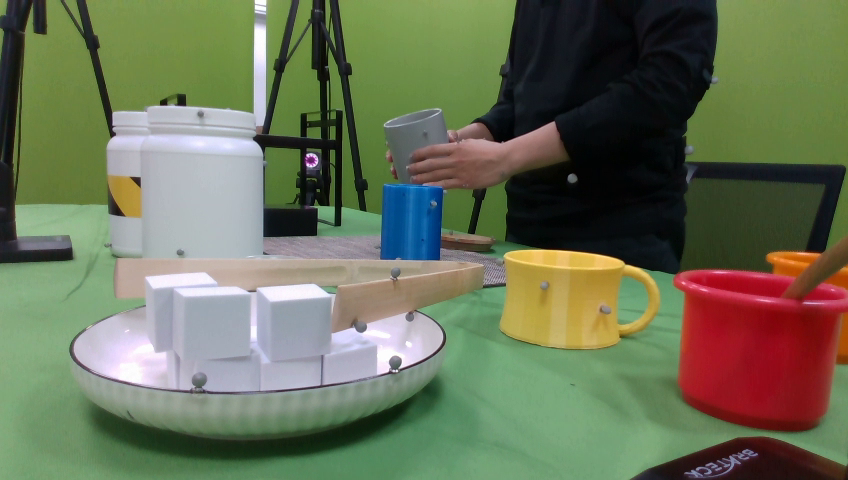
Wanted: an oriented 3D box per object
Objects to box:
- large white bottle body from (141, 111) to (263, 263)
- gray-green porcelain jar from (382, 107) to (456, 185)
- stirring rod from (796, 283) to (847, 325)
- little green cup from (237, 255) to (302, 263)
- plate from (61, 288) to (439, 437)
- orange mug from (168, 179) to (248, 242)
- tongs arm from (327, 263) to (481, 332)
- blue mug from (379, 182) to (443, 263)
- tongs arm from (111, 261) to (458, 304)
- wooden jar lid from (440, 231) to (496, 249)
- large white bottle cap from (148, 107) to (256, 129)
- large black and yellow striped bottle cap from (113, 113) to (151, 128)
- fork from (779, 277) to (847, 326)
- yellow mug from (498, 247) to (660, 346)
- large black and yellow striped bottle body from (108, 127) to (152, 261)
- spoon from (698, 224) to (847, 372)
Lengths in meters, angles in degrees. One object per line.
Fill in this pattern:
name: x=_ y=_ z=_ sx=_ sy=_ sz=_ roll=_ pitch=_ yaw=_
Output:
large white bottle body: x=-0.254 y=-0.054 z=0.697 sx=0.131 sy=0.184 sz=0.130 roll=2 pitch=7 yaw=0
gray-green porcelain jar: x=-0.005 y=-0.156 z=1.055 sx=0.106 sy=0.126 sz=0.105 roll=-14 pitch=20 yaw=6
stirring rod: x=0.346 y=0.019 z=0.460 sx=0.014 sy=0.176 sz=0.006 roll=-17 pitch=59 yaw=-26
little green cup: x=-0.150 y=0.038 z=0.590 sx=0.061 sy=0.038 sz=0.061 roll=3 pitch=6 yaw=0
plate: x=-0.095 y=0.069 z=0.362 sx=0.208 sy=0.039 sz=0.207 roll=3 pitch=7 yaw=0
orange mug: x=-0.351 y=-0.050 z=0.986 sx=0.126 sy=0.101 sz=0.083 roll=-3 pitch=8 yaw=-9
tongs arm: x=-0.003 y=0.036 z=0.493 sx=0.050 sy=0.026 sz=0.386 roll=1 pitch=0 yaw=19
blue mug: x=-0.020 y=-0.026 z=0.833 sx=0.082 sy=0.106 sz=0.116 roll=1 pitch=7 yaw=-7
tongs arm: x=-0.080 y=0.032 z=0.527 sx=0.028 sy=0.027 sz=0.389 roll=-3 pitch=-3 yaw=33
wooden jar lid: x=0.066 y=0.000 z=1.011 sx=0.108 sy=0.020 sz=0.108 roll=6 pitch=7 yaw=0
large white bottle cap: x=-0.250 y=-0.137 z=0.686 sx=0.115 sy=0.018 sz=0.115 roll=2 pitch=8 yaw=0
large black and yellow striped bottle cap: x=-0.348 y=-0.154 z=0.800 sx=0.115 sy=0.019 sz=0.115 roll=2 pitch=6 yaw=0
fork: x=0.335 y=0.018 z=0.443 sx=0.028 sy=0.018 sz=0.207 roll=-1 pitch=-36 yaw=-20
yellow mug: x=0.130 y=0.045 z=0.508 sx=0.131 sy=0.064 sz=0.100 roll=4 pitch=7 yaw=6
large black and yellow striped bottle body: x=-0.350 y=-0.071 z=0.812 sx=0.131 sy=0.184 sz=0.130 roll=2 pitch=7 yaw=0
spoon: x=0.195 y=0.032 z=0.323 sx=0.041 sy=0.021 sz=0.194 roll=1 pitch=-36 yaw=2
